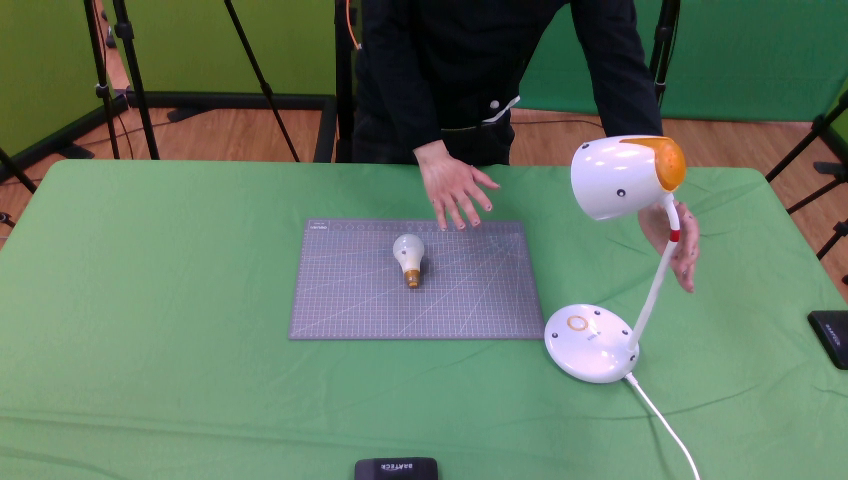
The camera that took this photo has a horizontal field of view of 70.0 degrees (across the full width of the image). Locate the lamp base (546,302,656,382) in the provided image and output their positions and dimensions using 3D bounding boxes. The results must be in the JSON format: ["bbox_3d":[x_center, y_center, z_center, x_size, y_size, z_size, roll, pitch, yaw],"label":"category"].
[{"bbox_3d":[0.303,0.127,0.982,0.160,0.181,0.178,-33,59,-30],"label":"lamp base"}]

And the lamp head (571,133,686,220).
[{"bbox_3d":[0.271,-0.085,0.780,0.112,0.113,0.122,-40,22,-33],"label":"lamp head"}]

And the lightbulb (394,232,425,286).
[{"bbox_3d":[-0.024,0.036,1.134,0.059,0.060,0.107,-4,63,-7],"label":"lightbulb"}]
